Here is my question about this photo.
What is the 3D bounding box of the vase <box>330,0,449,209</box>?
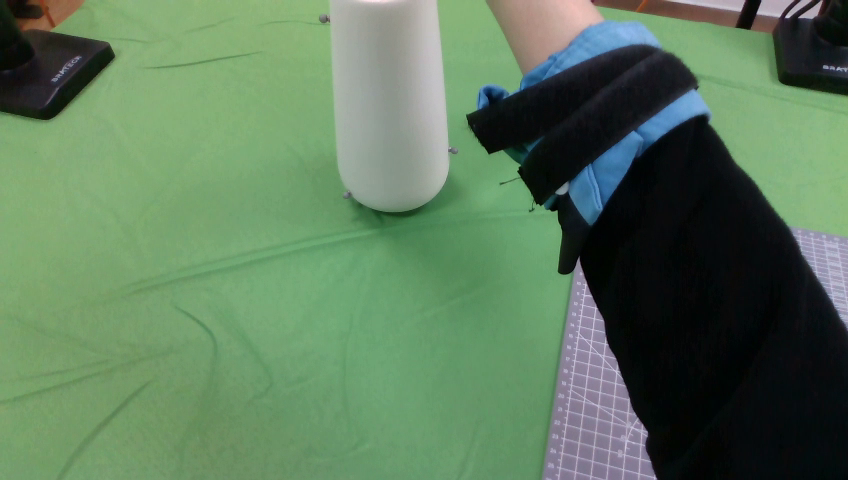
[{"bbox_3d":[-0.026,-0.117,0.479,0.098,0.202,0.097,1,51,-1],"label":"vase"}]
